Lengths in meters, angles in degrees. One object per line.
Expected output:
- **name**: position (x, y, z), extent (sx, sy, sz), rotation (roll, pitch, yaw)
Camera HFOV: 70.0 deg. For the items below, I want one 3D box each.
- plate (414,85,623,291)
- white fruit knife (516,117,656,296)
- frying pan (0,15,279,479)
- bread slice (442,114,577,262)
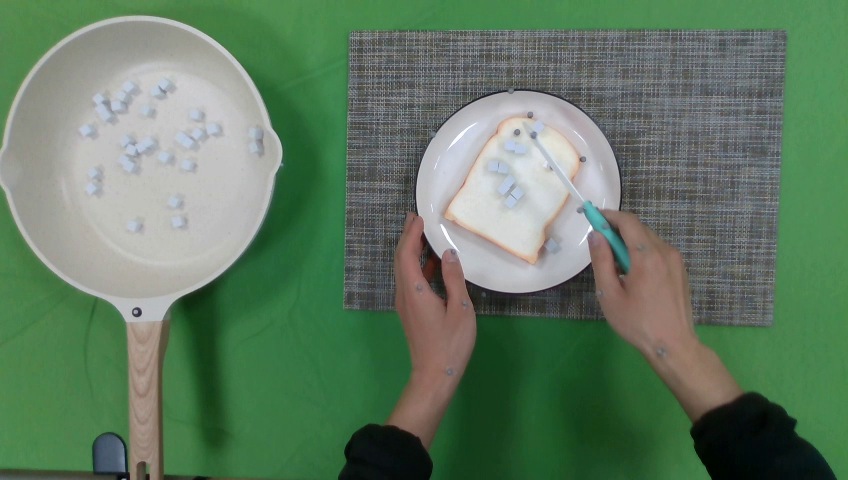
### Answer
- **plate**: position (0.095, -0.052, 0.624), extent (0.207, 0.039, 0.207), rotation (0, 92, 5)
- **white fruit knife**: position (0.149, -0.032, 0.563), extent (0.016, 0.027, 0.207), rotation (-38, 88, 1)
- **frying pan**: position (-0.290, 0.021, 0.631), extent (0.306, 0.103, 0.486), rotation (-2, 83, 6)
- **bread slice**: position (0.092, -0.060, 0.625), extent (0.107, 0.018, 0.134), rotation (25, 95, 3)
